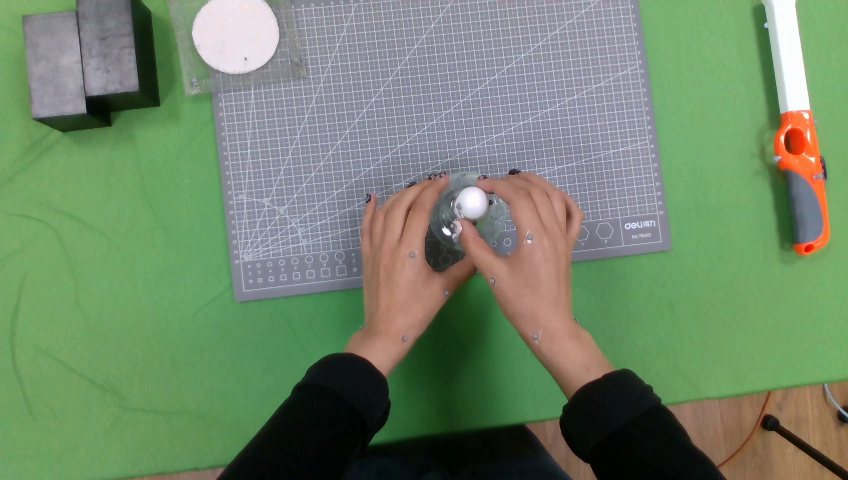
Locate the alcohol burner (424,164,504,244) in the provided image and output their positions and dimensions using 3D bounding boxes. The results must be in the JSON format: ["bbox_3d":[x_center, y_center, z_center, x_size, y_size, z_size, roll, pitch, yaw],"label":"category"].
[{"bbox_3d":[0.040,-0.036,0.567,0.078,0.119,0.077,0,85,-4],"label":"alcohol burner"}]

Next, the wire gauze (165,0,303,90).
[{"bbox_3d":[-0.195,-0.219,0.614,0.125,0.011,0.121,-12,87,-3],"label":"wire gauze"}]

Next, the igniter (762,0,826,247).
[{"bbox_3d":[0.386,-0.131,0.634,0.057,0.025,0.276,-5,88,-14],"label":"igniter"}]

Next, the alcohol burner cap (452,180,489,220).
[{"bbox_3d":[0.041,-0.036,0.531,0.034,0.048,0.034,0,86,4],"label":"alcohol burner cap"}]
